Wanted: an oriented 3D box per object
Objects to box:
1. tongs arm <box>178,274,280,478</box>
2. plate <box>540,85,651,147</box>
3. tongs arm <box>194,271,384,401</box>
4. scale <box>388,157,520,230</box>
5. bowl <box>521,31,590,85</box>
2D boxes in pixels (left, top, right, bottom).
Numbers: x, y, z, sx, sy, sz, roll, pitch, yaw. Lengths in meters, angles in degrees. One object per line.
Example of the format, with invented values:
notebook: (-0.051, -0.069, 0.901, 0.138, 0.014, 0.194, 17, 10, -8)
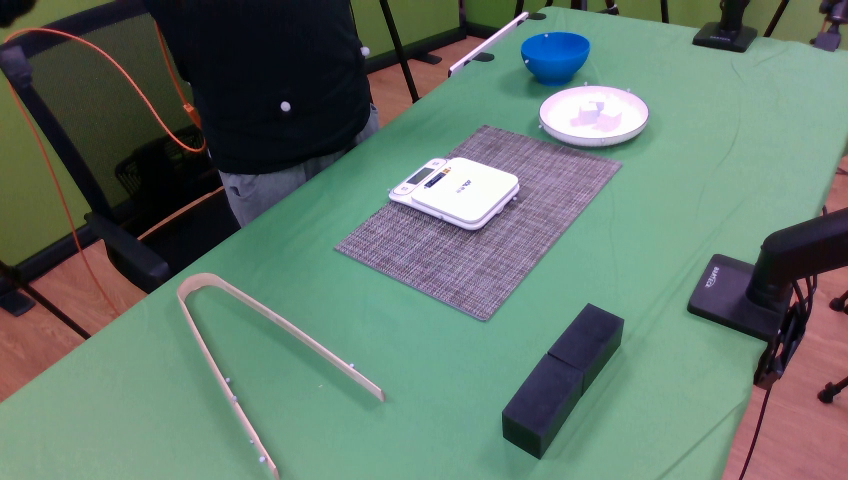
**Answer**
tongs arm: (-0.260, 0.161, 0.807, 0.051, 0.026, 0.381, -29, 44, -25)
plate: (0.333, -0.238, 1.186, 0.207, 0.039, 0.206, -4, 41, 4)
tongs arm: (-0.199, 0.125, 0.846, 0.384, 0.028, 0.028, 25, 53, 32)
scale: (0.050, -0.090, 1.052, 0.199, 0.032, 0.149, 24, 49, 31)
bowl: (0.290, -0.395, 1.341, 0.151, 0.077, 0.150, -4, 40, 4)
